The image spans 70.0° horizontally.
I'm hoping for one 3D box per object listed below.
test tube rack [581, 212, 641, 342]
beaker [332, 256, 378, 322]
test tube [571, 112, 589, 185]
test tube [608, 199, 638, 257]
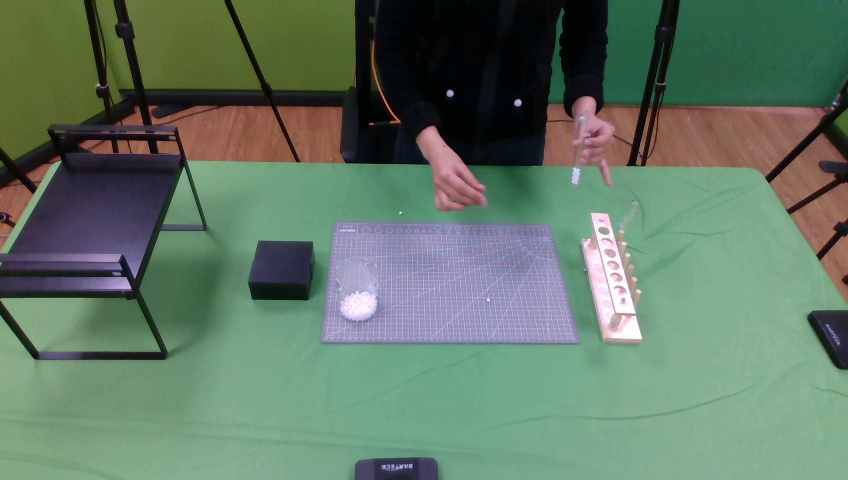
[{"bbox_3d":[0.351,0.063,1.121,0.067,0.085,0.241,3,46,-1],"label":"test tube rack"},{"bbox_3d":[-0.114,0.089,1.047,0.083,0.101,0.074,30,52,21],"label":"beaker"},{"bbox_3d":[0.281,-0.161,1.094,0.017,0.151,0.017,-2,41,2],"label":"test tube"},{"bbox_3d":[0.373,-0.020,1.140,0.017,0.151,0.017,2,47,-2],"label":"test tube"}]
